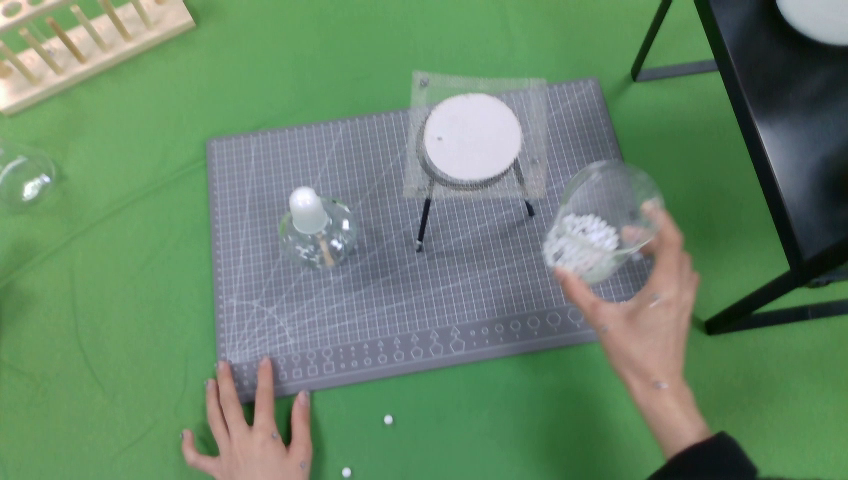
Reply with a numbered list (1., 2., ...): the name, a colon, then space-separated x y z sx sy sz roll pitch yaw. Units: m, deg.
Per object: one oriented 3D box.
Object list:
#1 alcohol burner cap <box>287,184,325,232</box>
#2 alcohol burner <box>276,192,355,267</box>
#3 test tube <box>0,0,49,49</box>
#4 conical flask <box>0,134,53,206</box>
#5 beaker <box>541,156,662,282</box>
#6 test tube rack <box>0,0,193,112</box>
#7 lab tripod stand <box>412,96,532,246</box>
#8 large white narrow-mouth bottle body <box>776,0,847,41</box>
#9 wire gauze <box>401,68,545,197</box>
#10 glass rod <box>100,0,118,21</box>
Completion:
1. alcohol burner cap: -0.109 -0.032 0.552 0.034 0.048 0.033 1 61 -2
2. alcohol burner: -0.108 -0.018 0.586 0.078 0.120 0.077 0 68 0
3. test tube: -0.448 -0.261 0.646 0.017 0.151 0.017 -1 64 2
4. conical flask: -0.450 -0.091 0.619 0.075 0.122 0.075 -1 70 2
5. beaker: 0.136 -0.010 0.493 0.084 0.101 0.073 -22 71 -8
6. test tube rack: -0.403 -0.248 0.692 0.242 0.086 0.066 -30 72 -9
7. lab tripod stand: 0.041 -0.066 0.588 0.148 0.132 0.147 0 69 0
8. large white narrow-mouth bottle body: 0.336 -0.236 0.419 0.102 0.196 0.101 -1 70 3
9. wire gauze: 0.044 -0.095 0.526 0.121 0.011 0.124 3 71 1
10. glass rod: -0.381 -0.312 0.644 0.008 0.201 0.008 -2 62 4
